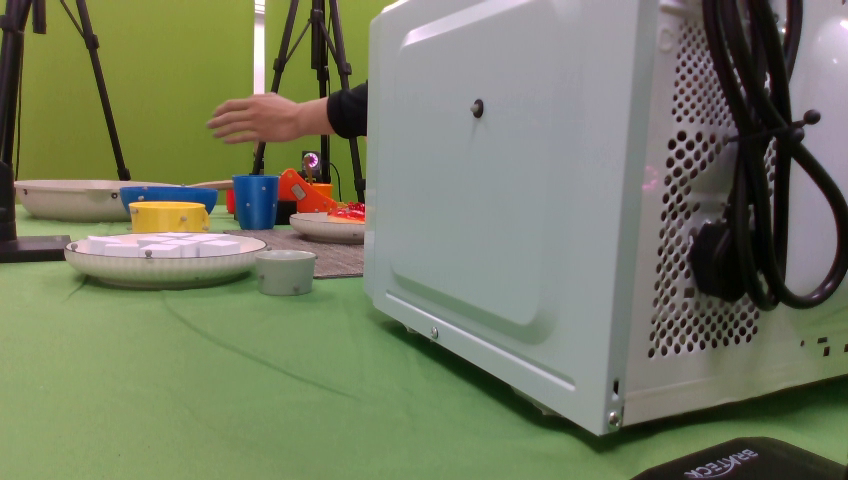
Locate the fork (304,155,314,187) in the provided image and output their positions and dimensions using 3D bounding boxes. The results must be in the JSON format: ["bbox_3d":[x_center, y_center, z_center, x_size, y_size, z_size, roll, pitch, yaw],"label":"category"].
[{"bbox_3d":[-0.268,-0.134,1.446,0.028,0.018,0.207,2,-36,-1],"label":"fork"}]

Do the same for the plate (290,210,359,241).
[{"bbox_3d":[-0.127,-0.026,1.051,0.209,0.038,0.209,2,7,0],"label":"plate"}]

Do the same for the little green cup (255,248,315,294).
[{"bbox_3d":[-0.144,0.032,0.627,0.061,0.038,0.061,4,7,0],"label":"little green cup"}]

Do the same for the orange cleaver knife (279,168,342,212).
[{"bbox_3d":[-0.237,-0.084,1.332,0.212,0.077,0.012,31,-9,-32],"label":"orange cleaver knife"}]

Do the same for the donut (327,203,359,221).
[{"bbox_3d":[-0.120,-0.037,1.055,0.099,0.048,0.099,5,7,0],"label":"donut"}]

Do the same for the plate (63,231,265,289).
[{"bbox_3d":[-0.288,0.021,0.687,0.208,0.039,0.207,2,8,0],"label":"plate"}]

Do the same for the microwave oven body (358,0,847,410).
[{"bbox_3d":[0.210,-0.051,0.471,0.444,0.260,0.324,-1,7,-28],"label":"microwave oven body"}]

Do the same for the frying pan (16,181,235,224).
[{"bbox_3d":[-0.554,-0.097,1.265,0.490,0.102,0.305,-10,13,-24],"label":"frying pan"}]

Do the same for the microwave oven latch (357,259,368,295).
[{"bbox_3d":[-0.019,0.031,0.529,0.079,0.029,0.030,-1,7,-26],"label":"microwave oven latch"}]

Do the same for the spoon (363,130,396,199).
[{"bbox_3d":[-0.103,-0.170,1.346,0.042,0.193,0.021,-8,-24,-24],"label":"spoon"}]

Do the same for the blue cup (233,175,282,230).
[{"bbox_3d":[-0.314,-0.071,1.141,0.093,0.100,0.092,0,7,0],"label":"blue cup"}]

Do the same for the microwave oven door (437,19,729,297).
[{"bbox_3d":[0.180,-0.076,0.618,0.358,0.243,0.039,-2,8,-28],"label":"microwave oven door"}]

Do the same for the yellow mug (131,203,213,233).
[{"bbox_3d":[-0.356,-0.020,0.878,0.099,0.064,0.131,4,7,22],"label":"yellow mug"}]

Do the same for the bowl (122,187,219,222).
[{"bbox_3d":[-0.422,-0.046,1.012,0.151,0.077,0.151,2,8,0],"label":"bowl"}]
